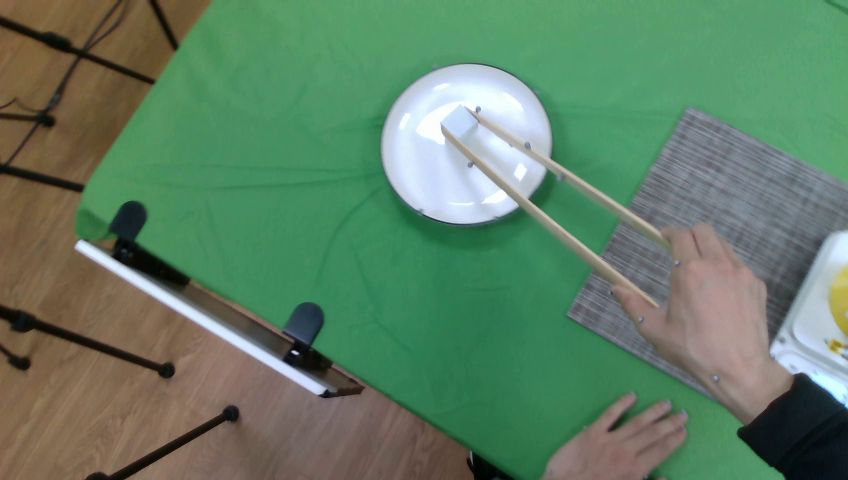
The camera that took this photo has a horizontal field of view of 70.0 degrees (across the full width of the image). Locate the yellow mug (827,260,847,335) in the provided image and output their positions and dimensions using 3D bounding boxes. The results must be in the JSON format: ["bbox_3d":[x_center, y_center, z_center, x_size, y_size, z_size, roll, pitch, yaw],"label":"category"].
[{"bbox_3d":[0.480,0.073,0.621,0.100,0.064,0.130,19,83,8],"label":"yellow mug"}]

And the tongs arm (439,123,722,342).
[{"bbox_3d":[0.127,-0.026,0.607,0.028,0.028,0.383,-40,51,-5],"label":"tongs arm"}]

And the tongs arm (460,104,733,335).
[{"bbox_3d":[0.145,-0.042,0.608,0.051,0.027,0.380,-45,52,-5],"label":"tongs arm"}]

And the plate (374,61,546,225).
[{"bbox_3d":[0.044,-0.116,0.745,0.207,0.039,0.206,-1,80,5],"label":"plate"}]

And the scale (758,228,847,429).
[{"bbox_3d":[0.478,0.100,0.665,0.148,0.032,0.200,29,84,10],"label":"scale"}]
